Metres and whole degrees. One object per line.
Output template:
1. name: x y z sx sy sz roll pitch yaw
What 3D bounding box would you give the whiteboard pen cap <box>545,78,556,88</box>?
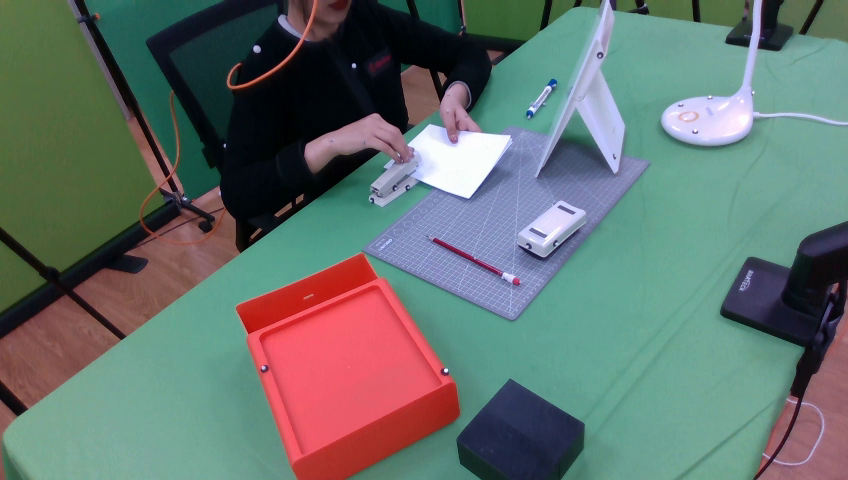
1. whiteboard pen cap: 0.280 -0.344 1.335 0.018 0.018 0.033 15 44 26

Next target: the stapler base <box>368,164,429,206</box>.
1. stapler base: -0.047 -0.110 1.119 0.041 0.024 0.131 26 53 37

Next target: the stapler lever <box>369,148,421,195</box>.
1. stapler lever: -0.051 -0.127 1.102 0.026 0.040 0.118 26 52 37

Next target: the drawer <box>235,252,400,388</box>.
1. drawer: -0.125 0.132 0.804 0.195 0.073 0.210 -23 42 -17

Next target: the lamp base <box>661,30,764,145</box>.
1. lamp base: 0.535 -0.287 1.096 0.179 0.181 0.159 -10 40 -4

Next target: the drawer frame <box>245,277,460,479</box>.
1. drawer frame: -0.093 0.167 0.755 0.202 0.083 0.211 -23 43 -17

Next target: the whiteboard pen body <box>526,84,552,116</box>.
1. whiteboard pen body: 0.251 -0.305 1.298 0.017 0.017 0.141 15 45 26

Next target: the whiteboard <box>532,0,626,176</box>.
1. whiteboard: 0.321 -0.258 1.050 0.144 0.306 0.217 22 45 5

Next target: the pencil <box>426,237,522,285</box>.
1. pencil: 0.072 0.029 0.941 0.192 0.012 0.012 26 52 37

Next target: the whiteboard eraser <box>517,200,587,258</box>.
1. whiteboard eraser: 0.201 -0.016 0.943 0.113 0.042 0.055 -37 46 -29
